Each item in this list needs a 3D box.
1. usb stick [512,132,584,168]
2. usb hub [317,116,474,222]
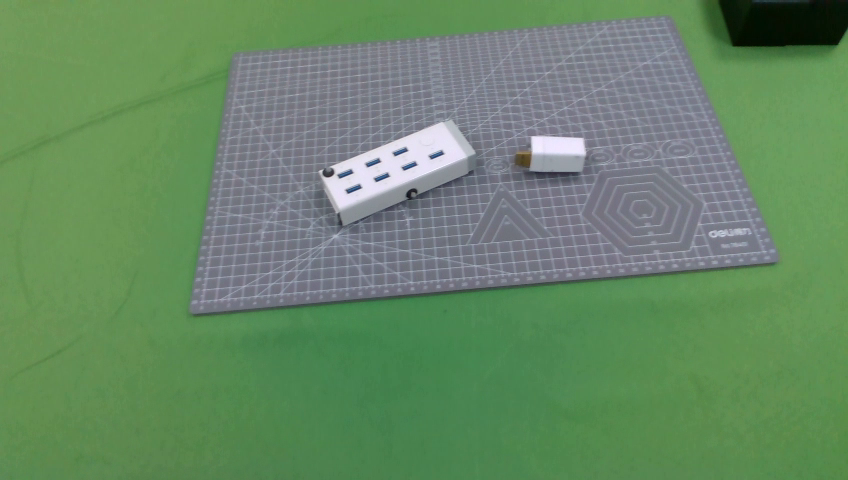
[{"bbox_3d":[0.103,-0.076,0.512,0.059,0.022,0.027,0,46,1],"label":"usb stick"},{"bbox_3d":[-0.023,-0.062,0.510,0.125,0.025,0.049,-24,58,-12],"label":"usb hub"}]
